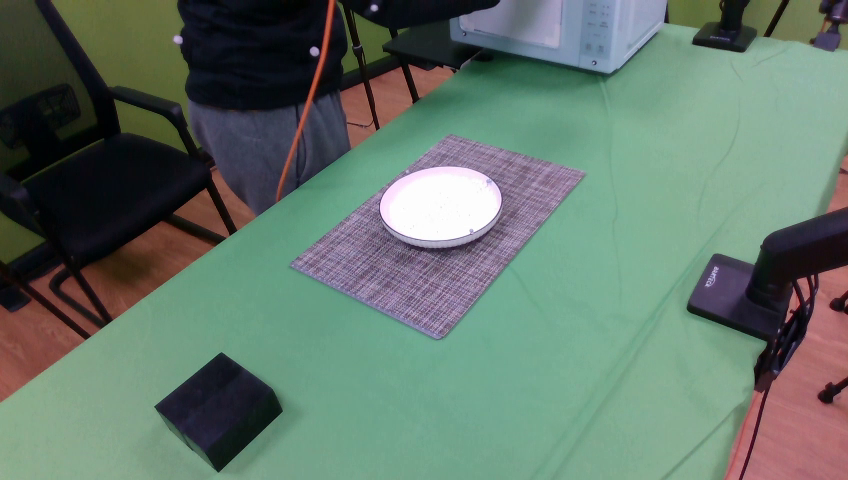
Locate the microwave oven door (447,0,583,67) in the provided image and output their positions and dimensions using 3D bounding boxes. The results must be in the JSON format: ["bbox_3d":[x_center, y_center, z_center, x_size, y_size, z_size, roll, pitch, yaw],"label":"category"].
[{"bbox_3d":[0.203,-0.544,1.372,0.353,0.245,0.039,23,49,30],"label":"microwave oven door"}]

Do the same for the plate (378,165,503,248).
[{"bbox_3d":[0.029,-0.053,1.008,0.209,0.038,0.208,-3,41,3],"label":"plate"}]

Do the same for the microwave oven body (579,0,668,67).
[{"bbox_3d":[0.325,-0.609,1.437,0.438,0.261,0.327,23,50,30],"label":"microwave oven body"}]

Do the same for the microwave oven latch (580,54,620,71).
[{"bbox_3d":[0.386,-0.394,1.330,0.078,0.029,0.030,25,51,32],"label":"microwave oven latch"}]
